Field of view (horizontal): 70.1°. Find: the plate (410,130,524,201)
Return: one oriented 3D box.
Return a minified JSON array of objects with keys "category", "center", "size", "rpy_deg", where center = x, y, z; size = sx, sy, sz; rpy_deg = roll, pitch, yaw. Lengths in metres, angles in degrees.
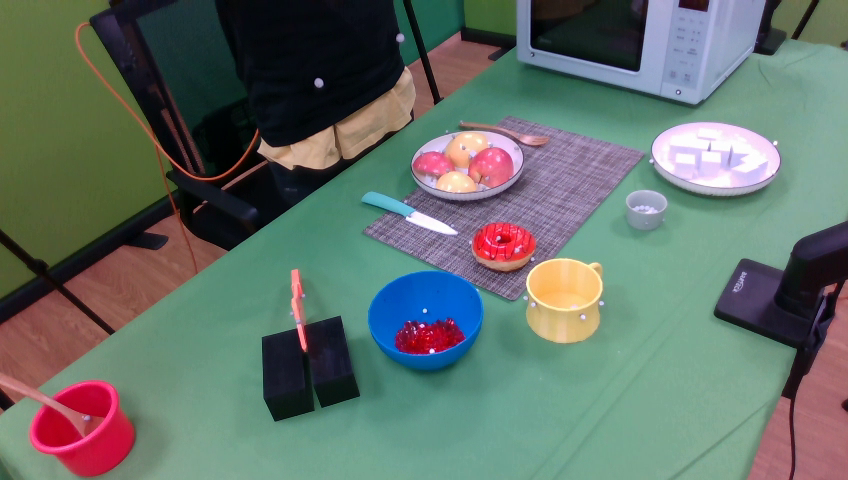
[{"category":"plate","center":[0.079,-0.133,1.101],"size":[0.209,0.038,0.208],"rpy_deg":[-4,40,4]}]

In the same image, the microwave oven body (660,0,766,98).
[{"category":"microwave oven body","center":[0.472,-0.513,1.317],"size":[0.438,0.261,0.327],"rpy_deg":[26,51,34]}]

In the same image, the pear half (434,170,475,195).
[{"category":"pear half","center":[0.052,-0.105,1.051],"size":[0.071,0.031,0.087],"rpy_deg":[-5,32,-28]}]

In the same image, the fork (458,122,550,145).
[{"category":"fork","center":[0.154,-0.215,1.204],"size":[0.206,0.019,0.028],"rpy_deg":[20,57,29]}]

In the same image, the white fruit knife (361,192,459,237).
[{"category":"white fruit knife","center":[-0.025,-0.044,1.033],"size":[0.206,0.016,0.027],"rpy_deg":[24,80,30]}]

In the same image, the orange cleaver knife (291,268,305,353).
[{"category":"orange cleaver knife","center":[-0.175,0.093,0.844],"size":[0.012,0.077,0.210],"rpy_deg":[-11,15,-10]}]

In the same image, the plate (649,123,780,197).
[{"category":"plate","center":[0.497,-0.135,1.046],"size":[0.207,0.039,0.206],"rpy_deg":[-4,40,4]}]

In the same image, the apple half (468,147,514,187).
[{"category":"apple half","center":[0.119,-0.137,1.073],"size":[0.080,0.053,0.075],"rpy_deg":[25,49,38]}]

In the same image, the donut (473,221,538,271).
[{"category":"donut","center":[0.123,0.008,0.923],"size":[0.099,0.048,0.098],"rpy_deg":[-3,38,3]}]

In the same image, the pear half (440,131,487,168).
[{"category":"pear half","center":[0.064,-0.173,1.129],"size":[0.110,0.056,0.076],"rpy_deg":[-6,35,4]}]

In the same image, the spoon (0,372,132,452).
[{"category":"spoon","center":[-0.439,0.195,0.715],"size":[0.195,0.021,0.041],"rpy_deg":[38,42,-17]}]

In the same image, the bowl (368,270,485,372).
[{"category":"bowl","center":[0.007,0.118,0.791],"size":[0.151,0.077,0.150],"rpy_deg":[-5,40,4]}]

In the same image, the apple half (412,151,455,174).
[{"category":"apple half","center":[0.022,-0.144,1.097],"size":[0.081,0.033,0.081],"rpy_deg":[7,21,-2]}]

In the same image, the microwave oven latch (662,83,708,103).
[{"category":"microwave oven latch","center":[0.518,-0.296,1.204],"size":[0.078,0.029,0.030],"rpy_deg":[28,52,36]}]

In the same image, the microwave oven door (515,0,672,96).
[{"category":"microwave oven door","center":[0.343,-0.454,1.259],"size":[0.353,0.245,0.039],"rpy_deg":[26,51,33]}]

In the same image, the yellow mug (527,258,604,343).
[{"category":"yellow mug","center":[0.202,0.073,0.825],"size":[0.131,0.064,0.099],"rpy_deg":[-32,46,-27]}]

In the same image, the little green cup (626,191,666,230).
[{"category":"little green cup","center":[0.352,-0.046,0.963],"size":[0.061,0.039,0.061],"rpy_deg":[-4,40,4]}]
